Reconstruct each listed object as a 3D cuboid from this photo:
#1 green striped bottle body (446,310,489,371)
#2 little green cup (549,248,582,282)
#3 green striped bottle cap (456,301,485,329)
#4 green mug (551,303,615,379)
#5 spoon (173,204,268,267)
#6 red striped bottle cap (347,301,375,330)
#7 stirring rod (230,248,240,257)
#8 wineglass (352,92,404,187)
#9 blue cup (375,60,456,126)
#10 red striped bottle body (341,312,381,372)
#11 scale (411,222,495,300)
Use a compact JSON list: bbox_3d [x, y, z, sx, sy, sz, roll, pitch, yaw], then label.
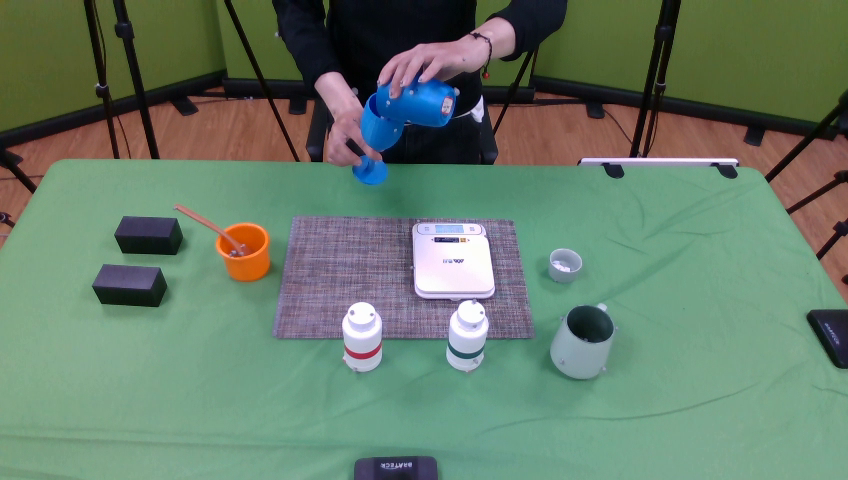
[{"bbox_3d":[0.070,0.155,0.984,0.063,0.120,0.063,2,46,-2],"label":"green striped bottle body"},{"bbox_3d":[0.268,0.050,1.156,0.061,0.039,0.061,2,46,-1],"label":"little green cup"},{"bbox_3d":[0.073,0.116,0.943,0.044,0.020,0.044,3,46,-3],"label":"green striped bottle cap"},{"bbox_3d":[0.271,0.157,1.007,0.092,0.105,0.125,27,50,21],"label":"green mug"},{"bbox_3d":[-0.363,-0.009,1.089,0.021,0.195,0.041,-35,31,23],"label":"spoon"},{"bbox_3d":[-0.097,0.116,0.934,0.044,0.018,0.044,2,49,-3],"label":"red striped bottle cap"},{"bbox_3d":[-0.330,0.023,1.059,0.014,0.176,0.006,33,79,-11],"label":"stirring rod"},{"bbox_3d":[-0.080,-0.170,1.026,0.074,0.173,0.073,7,58,-11],"label":"wineglass"},{"bbox_3d":[-0.009,-0.215,0.914,0.100,0.093,0.092,22,48,19],"label":"blue cup"},{"bbox_3d":[-0.100,0.154,0.972,0.063,0.120,0.062,2,45,-2],"label":"red striped bottle body"},{"bbox_3d":[0.052,0.031,1.158,0.149,0.032,0.199,1,46,-4],"label":"scale"}]
